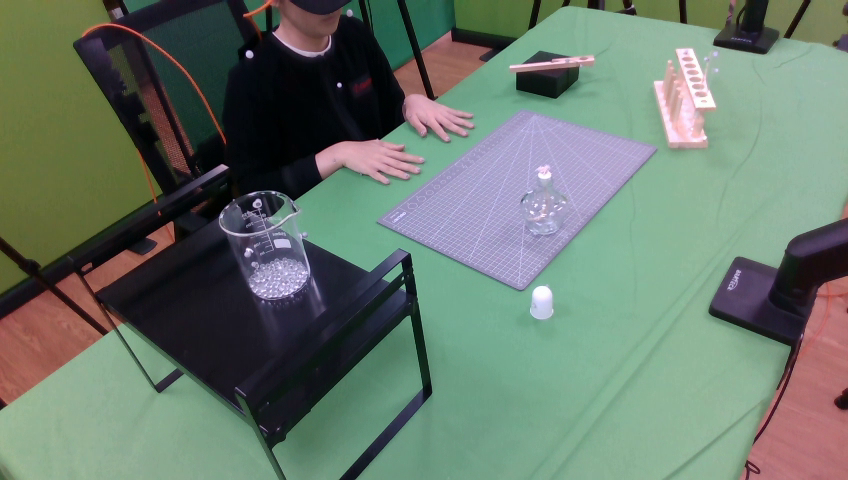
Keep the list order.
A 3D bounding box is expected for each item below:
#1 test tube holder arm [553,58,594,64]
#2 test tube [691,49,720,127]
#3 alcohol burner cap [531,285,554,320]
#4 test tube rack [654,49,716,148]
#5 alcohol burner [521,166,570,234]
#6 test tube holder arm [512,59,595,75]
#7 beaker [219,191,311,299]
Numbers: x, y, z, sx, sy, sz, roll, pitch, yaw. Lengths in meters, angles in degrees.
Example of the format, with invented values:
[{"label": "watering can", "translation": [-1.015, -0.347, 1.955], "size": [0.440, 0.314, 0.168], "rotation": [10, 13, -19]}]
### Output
[{"label": "test tube holder arm", "translation": [0.321, -0.380, 1.299], "size": [0.088, 0.015, 0.010], "rotation": [-5, 38, 1]}, {"label": "test tube", "translation": [0.505, -0.270, 1.087], "size": [0.017, 0.151, 0.017], "rotation": [-2, 41, 2]}, {"label": "alcohol burner cap", "translation": [0.164, 0.084, 0.838], "size": [0.034, 0.048, 0.033], "rotation": [-4, 40, 4]}, {"label": "test tube rack", "translation": [0.502, -0.281, 1.176], "size": [0.066, 0.085, 0.241], "rotation": [2, 41, 11]}, {"label": "alcohol burner", "translation": [0.192, -0.068, 0.951], "size": [0.078, 0.119, 0.077], "rotation": [-4, 42, 4]}, {"label": "test tube holder arm", "translation": [0.276, -0.371, 1.294], "size": [0.179, 0.015, 0.013], "rotation": [-8, 38, -2]}, {"label": "beaker", "translation": [-0.164, 0.008, 0.654], "size": [0.084, 0.101, 0.073], "rotation": [-10, 41, -3]}]
